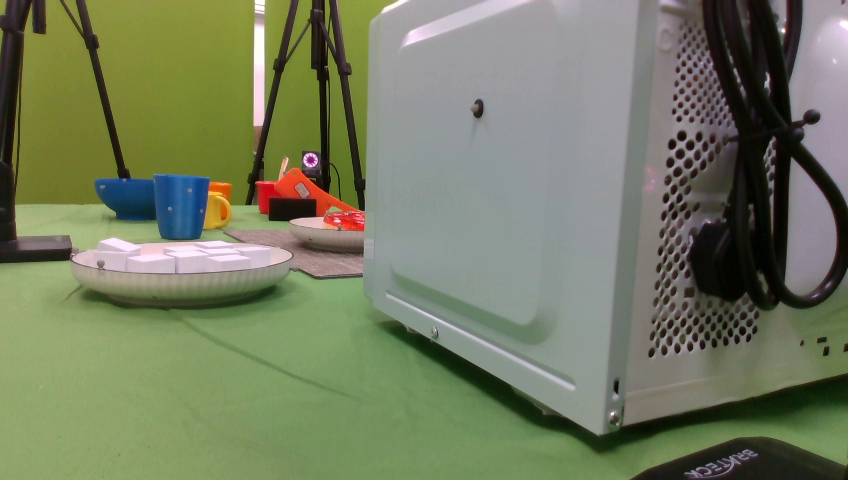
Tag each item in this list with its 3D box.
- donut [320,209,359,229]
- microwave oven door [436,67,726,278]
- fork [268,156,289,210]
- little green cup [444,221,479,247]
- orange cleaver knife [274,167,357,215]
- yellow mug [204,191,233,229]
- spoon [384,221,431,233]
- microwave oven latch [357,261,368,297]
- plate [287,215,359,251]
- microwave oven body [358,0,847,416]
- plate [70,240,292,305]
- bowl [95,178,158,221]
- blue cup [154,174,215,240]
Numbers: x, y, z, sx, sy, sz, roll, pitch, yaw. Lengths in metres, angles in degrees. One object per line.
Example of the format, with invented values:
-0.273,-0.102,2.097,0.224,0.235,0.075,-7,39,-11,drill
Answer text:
-0.115,-0.023,0.961,0.099,0.048,0.099,5,8,0,donut
0.184,-0.093,0.781,0.354,0.243,0.039,6,9,28,microwave oven door
-0.360,-0.144,1.508,0.028,0.018,0.207,1,49,0,fork
0.065,-0.011,1.034,0.061,0.038,0.061,0,9,0,little green cup
-0.238,-0.091,1.381,0.212,0.077,0.012,31,0,-19,orange cleaver knife
-0.415,-0.057,1.132,0.130,0.064,0.100,6,8,16,yellow mug
-0.024,-0.029,1.188,0.041,0.021,0.194,-12,0,23,spoon
-0.019,0.033,0.530,0.079,0.029,0.030,-1,7,-27,microwave oven latch
-0.112,-0.012,0.960,0.209,0.038,0.209,3,8,0,plate
0.211,-0.047,0.474,0.444,0.260,0.324,-1,7,-28,microwave oven body
-0.242,0.031,0.618,0.208,0.039,0.207,2,8,0,plate
-0.576,-0.081,1.217,0.151,0.077,0.151,3,8,0,bowl
-0.390,-0.053,0.978,0.093,0.100,0.092,4,6,0,blue cup
